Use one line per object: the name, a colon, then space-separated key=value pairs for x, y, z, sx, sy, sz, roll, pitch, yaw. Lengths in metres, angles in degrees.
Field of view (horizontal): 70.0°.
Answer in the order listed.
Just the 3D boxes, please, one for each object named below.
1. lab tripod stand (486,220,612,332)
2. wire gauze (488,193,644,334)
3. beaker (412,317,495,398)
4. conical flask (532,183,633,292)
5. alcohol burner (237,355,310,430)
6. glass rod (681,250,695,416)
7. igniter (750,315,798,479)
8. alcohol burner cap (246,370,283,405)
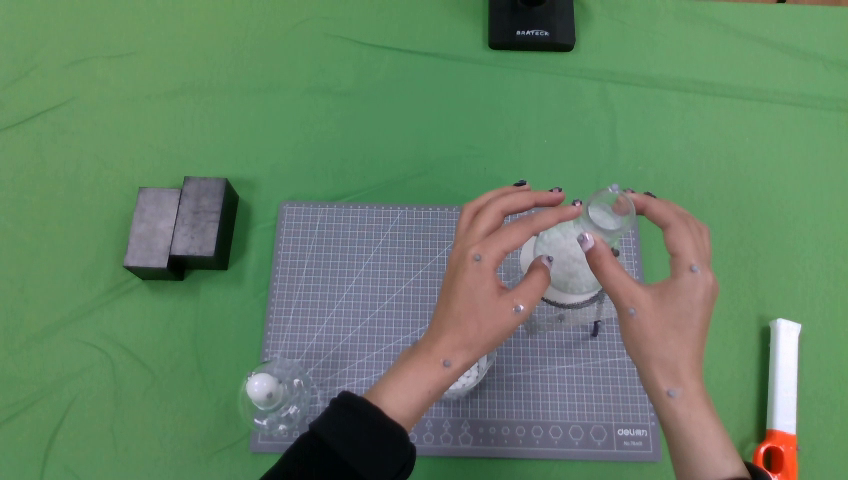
lab tripod stand: x=0.140 y=0.046 z=0.662 sx=0.148 sy=0.132 sz=0.147 roll=0 pitch=72 yaw=0
wire gauze: x=0.139 y=0.022 z=0.599 sx=0.125 sy=0.011 sz=0.120 roll=-14 pitch=72 yaw=-5
beaker: x=0.029 y=0.129 z=0.649 sx=0.084 sy=0.101 sz=0.073 roll=-4 pitch=70 yaw=-2
conical flask: x=0.134 y=-0.005 z=0.494 sx=0.075 sy=0.122 sz=0.075 roll=0 pitch=73 yaw=0
alcohol burner: x=-0.159 y=0.156 z=0.629 sx=0.078 sy=0.120 sz=0.077 roll=1 pitch=71 yaw=-2
glass rod: x=0.309 y=0.104 z=0.712 sx=0.008 sy=0.008 sz=0.198 roll=6 pitch=69 yaw=1
igniter: x=0.386 y=0.217 z=0.662 sx=0.057 sy=0.025 sz=0.275 roll=17 pitch=70 yaw=-5
alcohol burner cap: x=-0.158 y=0.143 z=0.595 sx=0.034 sy=0.048 sz=0.033 roll=2 pitch=68 yaw=-5
